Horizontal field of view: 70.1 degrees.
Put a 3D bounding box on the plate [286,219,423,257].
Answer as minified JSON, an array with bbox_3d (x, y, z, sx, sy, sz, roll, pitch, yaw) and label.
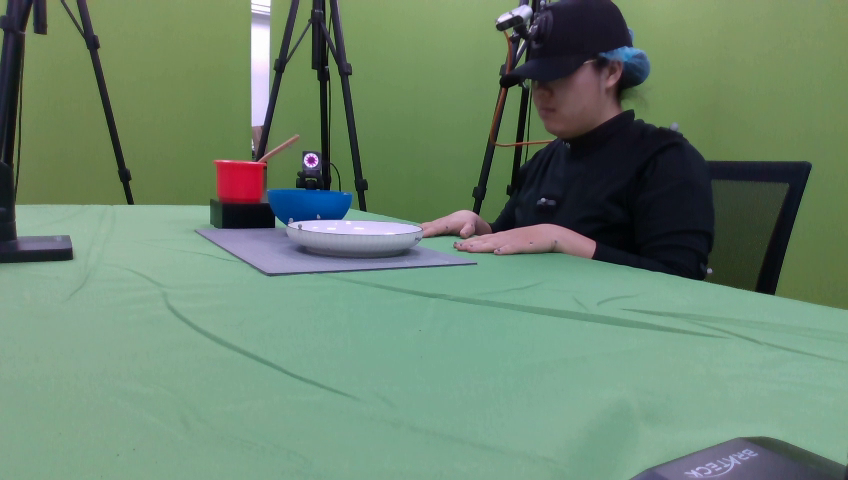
[{"bbox_3d":[-0.105,-0.004,0.922,0.208,0.039,0.207,3,7,0],"label":"plate"}]

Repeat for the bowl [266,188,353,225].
[{"bbox_3d":[-0.204,-0.049,1.080,0.151,0.077,0.151,3,7,0],"label":"bowl"}]

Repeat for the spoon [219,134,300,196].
[{"bbox_3d":[-0.317,-0.146,1.171,0.194,0.022,0.041,-45,22,-14],"label":"spoon"}]
